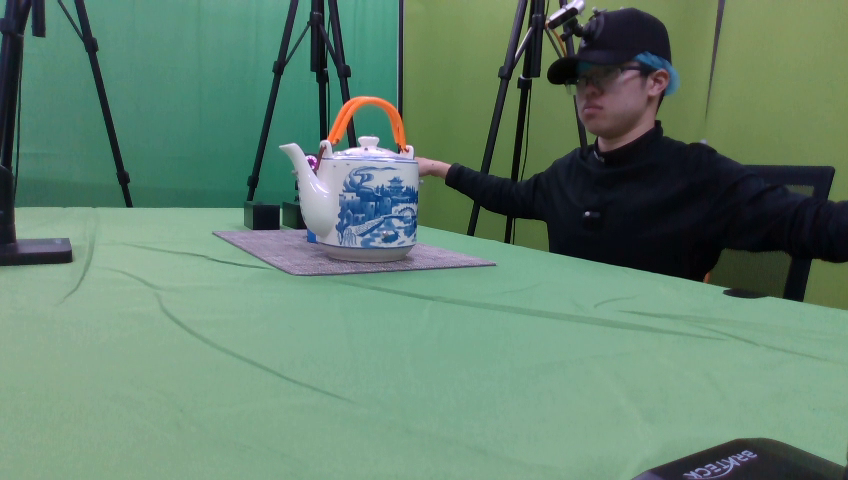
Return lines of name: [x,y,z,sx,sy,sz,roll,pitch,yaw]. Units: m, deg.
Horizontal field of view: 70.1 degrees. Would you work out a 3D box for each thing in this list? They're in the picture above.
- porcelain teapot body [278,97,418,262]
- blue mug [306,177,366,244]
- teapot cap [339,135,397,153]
porcelain teapot body: [-0.104,-0.086,0.842,0.206,0.225,0.144,-4,10,-38]
blue mug: [-0.144,-0.052,1.027,0.082,0.106,0.117,9,10,42]
teapot cap: [-0.080,-0.127,0.854,0.085,0.044,0.085,-1,6,0]
